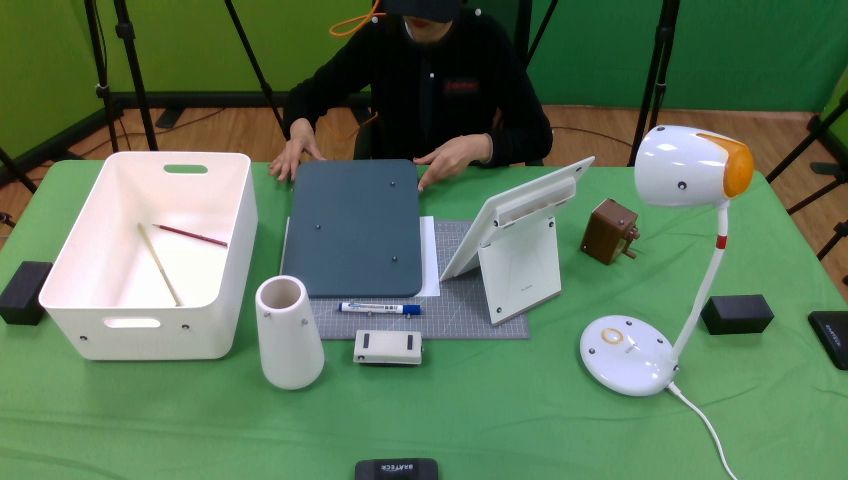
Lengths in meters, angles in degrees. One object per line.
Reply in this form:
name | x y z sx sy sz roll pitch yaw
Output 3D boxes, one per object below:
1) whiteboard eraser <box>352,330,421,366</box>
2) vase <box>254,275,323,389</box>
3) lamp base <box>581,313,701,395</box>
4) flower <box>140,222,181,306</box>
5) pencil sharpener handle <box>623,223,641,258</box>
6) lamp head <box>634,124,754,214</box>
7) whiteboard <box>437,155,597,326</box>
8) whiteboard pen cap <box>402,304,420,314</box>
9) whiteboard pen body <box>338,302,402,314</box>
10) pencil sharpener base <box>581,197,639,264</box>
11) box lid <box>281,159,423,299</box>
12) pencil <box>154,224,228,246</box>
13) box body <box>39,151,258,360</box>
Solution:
whiteboard eraser | -0.061 0.180 1.005 0.113 0.042 0.055 3 48 -3
vase | -0.209 0.143 0.921 0.098 0.201 0.097 1 46 -1
lamp base | 0.361 0.144 0.973 0.178 0.181 0.160 34 53 23
flower | -0.459 0.074 1.084 0.044 0.038 0.359 -27 51 -19
pencil sharpener handle | 0.399 0.002 1.146 0.030 0.068 0.036 35 45 26
lamp head | 0.351 -0.089 0.776 0.112 0.113 0.122 -30 30 -28
whiteboard | 0.180 0.023 1.029 0.217 0.306 0.143 -21 71 -23
whiteboard pen cap | -0.024 0.123 1.076 0.033 0.018 0.018 1 46 1
whiteboard pen body | -0.083 0.121 1.074 0.141 0.017 0.017 3 46 -2
pencil sharpener base | 0.362 -0.016 1.178 0.076 0.107 0.061 35 53 26
box lid | -0.139 -0.037 1.213 0.263 0.015 0.369 -1 50 -3
pencil | -0.439 -0.007 1.172 0.194 0.012 0.012 14 47 11
box body | -0.441 0.022 1.046 0.254 0.161 0.361 0 46 -5
